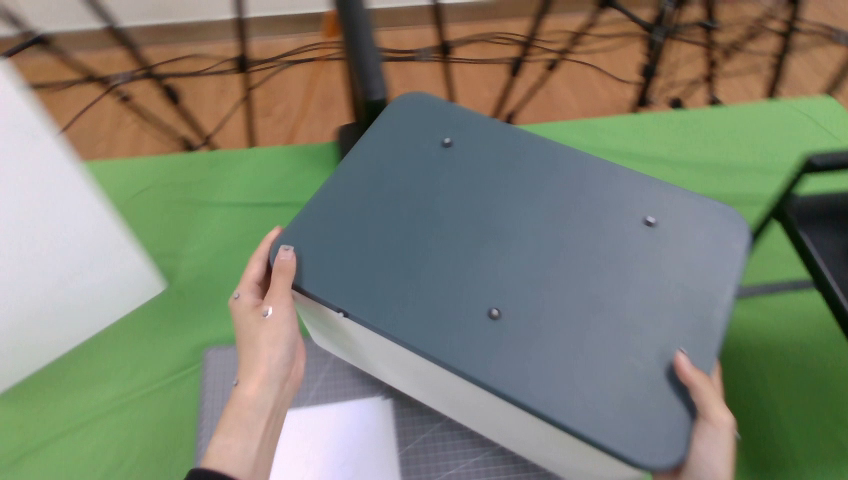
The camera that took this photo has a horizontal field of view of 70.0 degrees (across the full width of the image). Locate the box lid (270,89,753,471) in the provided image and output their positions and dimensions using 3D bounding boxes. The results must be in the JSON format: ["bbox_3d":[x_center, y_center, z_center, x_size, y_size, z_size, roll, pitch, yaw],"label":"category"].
[{"bbox_3d":[0.078,0.003,0.532,0.370,0.015,0.262,25,59,14],"label":"box lid"}]

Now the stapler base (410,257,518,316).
[{"bbox_3d":[0.050,0.052,0.731,0.130,0.024,0.041,19,55,10],"label":"stapler base"}]

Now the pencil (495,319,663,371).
[{"bbox_3d":[0.176,0.119,0.698,0.193,0.012,0.012,15,55,12],"label":"pencil"}]

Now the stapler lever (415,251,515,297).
[{"bbox_3d":[0.048,0.037,0.709,0.117,0.040,0.026,18,55,11],"label":"stapler lever"}]

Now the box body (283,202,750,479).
[{"bbox_3d":[0.081,0.045,0.594,0.362,0.162,0.253,24,60,15],"label":"box body"}]

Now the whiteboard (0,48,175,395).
[{"bbox_3d":[-0.456,-0.029,0.644,0.217,0.308,0.142,-35,44,-23],"label":"whiteboard"}]
